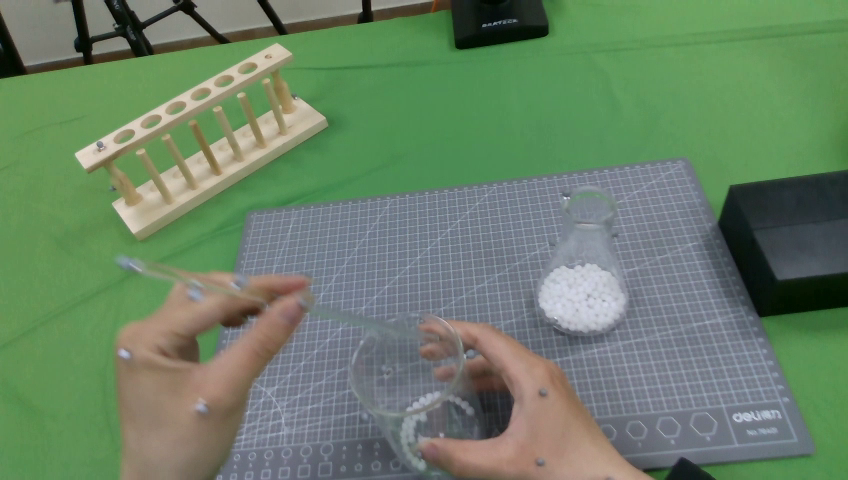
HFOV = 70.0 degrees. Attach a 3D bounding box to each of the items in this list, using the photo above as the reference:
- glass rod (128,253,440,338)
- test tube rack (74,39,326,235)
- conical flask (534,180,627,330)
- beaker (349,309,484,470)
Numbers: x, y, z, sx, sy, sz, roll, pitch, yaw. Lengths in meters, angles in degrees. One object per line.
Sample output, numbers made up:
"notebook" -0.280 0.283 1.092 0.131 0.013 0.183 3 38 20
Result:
"glass rod" -0.061 0.036 0.337 0.008 0.201 0.008 -21 60 41
"test tube rack" -0.233 -0.116 0.659 0.242 0.086 0.066 -37 54 -19
"conical flask" 0.122 0.010 0.464 0.075 0.123 0.074 -5 50 7
"beaker" -0.002 0.103 0.412 0.074 0.101 0.083 -36 47 -16
